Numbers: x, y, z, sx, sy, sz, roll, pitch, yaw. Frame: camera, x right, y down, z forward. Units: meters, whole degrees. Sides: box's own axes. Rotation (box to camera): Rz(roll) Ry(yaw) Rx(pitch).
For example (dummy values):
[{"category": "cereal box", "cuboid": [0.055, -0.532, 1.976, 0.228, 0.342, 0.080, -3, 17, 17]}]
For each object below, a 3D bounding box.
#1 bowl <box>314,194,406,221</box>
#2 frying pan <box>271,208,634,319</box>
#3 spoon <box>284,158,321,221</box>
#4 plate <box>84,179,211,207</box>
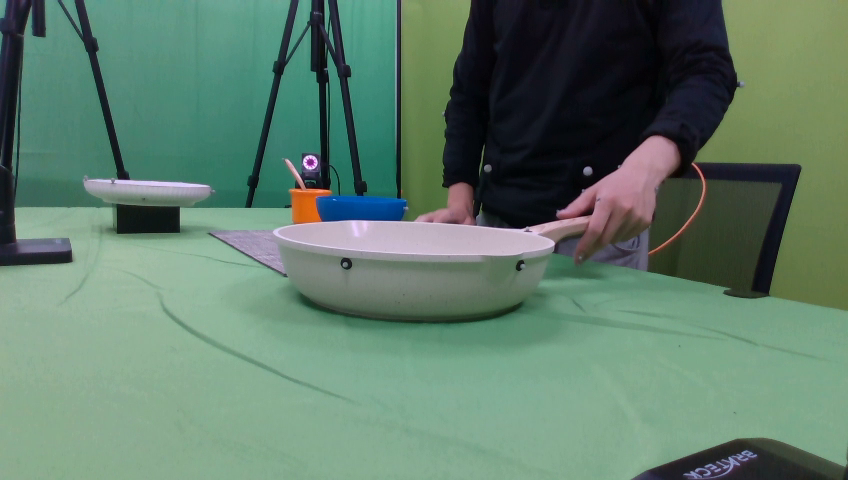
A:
[{"category": "bowl", "cuboid": [-0.105, -0.032, 0.991, 0.151, 0.077, 0.151, 3, 7, 0]}, {"category": "frying pan", "cuboid": [0.076, 0.003, 0.695, 0.490, 0.102, 0.305, -12, 14, -30]}, {"category": "spoon", "cuboid": [-0.269, -0.113, 1.336, 0.042, 0.193, 0.021, -4, -34, -42]}, {"category": "plate", "cuboid": [-0.495, -0.085, 1.093, 0.208, 0.039, 0.207, 4, 6, 0]}]
